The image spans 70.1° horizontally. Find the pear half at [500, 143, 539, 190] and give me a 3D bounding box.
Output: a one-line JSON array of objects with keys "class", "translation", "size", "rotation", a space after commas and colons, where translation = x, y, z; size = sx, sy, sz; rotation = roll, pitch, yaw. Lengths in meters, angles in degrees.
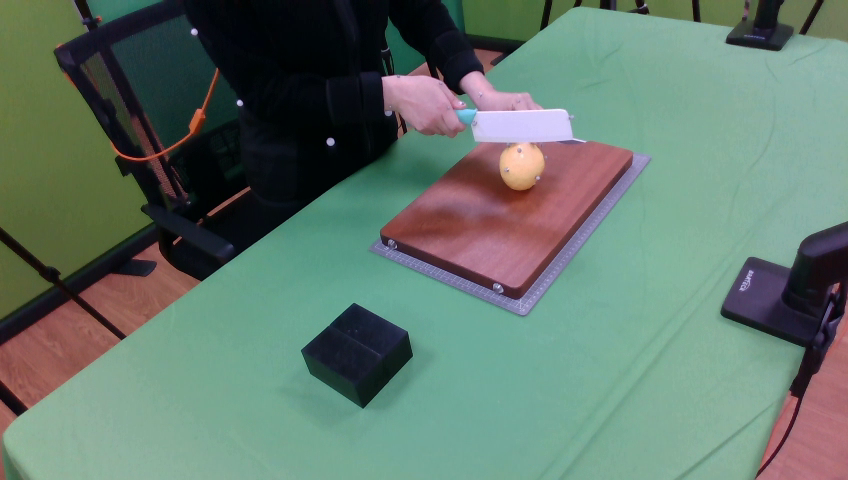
[{"class": "pear half", "translation": [0.154, -0.116, 0.998], "size": [0.070, 0.088, 0.031], "rotation": [15, 46, 18]}]

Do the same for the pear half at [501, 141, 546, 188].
[{"class": "pear half", "translation": [0.169, -0.146, 1.014], "size": [0.076, 0.110, 0.056], "rotation": [15, 47, 19]}]

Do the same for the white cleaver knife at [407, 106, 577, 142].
[{"class": "white cleaver knife", "translation": [0.099, -0.183, 0.970], "size": [0.284, 0.066, 0.021], "rotation": [7, 46, 26]}]
